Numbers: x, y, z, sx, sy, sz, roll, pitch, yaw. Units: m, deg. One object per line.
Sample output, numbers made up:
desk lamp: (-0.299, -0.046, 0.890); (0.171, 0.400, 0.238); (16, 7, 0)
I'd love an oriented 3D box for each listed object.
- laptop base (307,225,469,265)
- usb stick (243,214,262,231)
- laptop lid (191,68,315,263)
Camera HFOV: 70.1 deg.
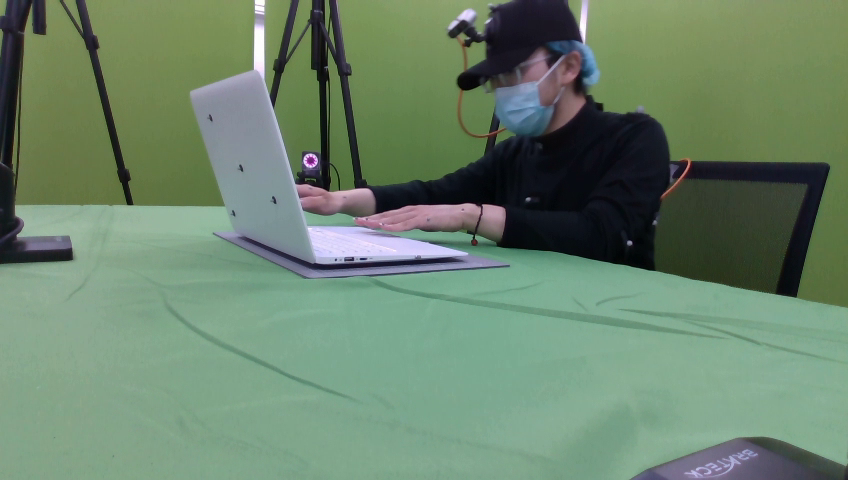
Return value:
laptop base: (-0.125, 0.005, 0.936); (0.237, 0.023, 0.352); (2, 7, -33)
usb stick: (-0.297, -0.030, 1.053); (0.021, 0.027, 0.059); (-3, 13, -31)
laptop lid: (-0.250, -0.102, 0.838); (0.013, 0.242, 0.355); (-22, 20, -29)
